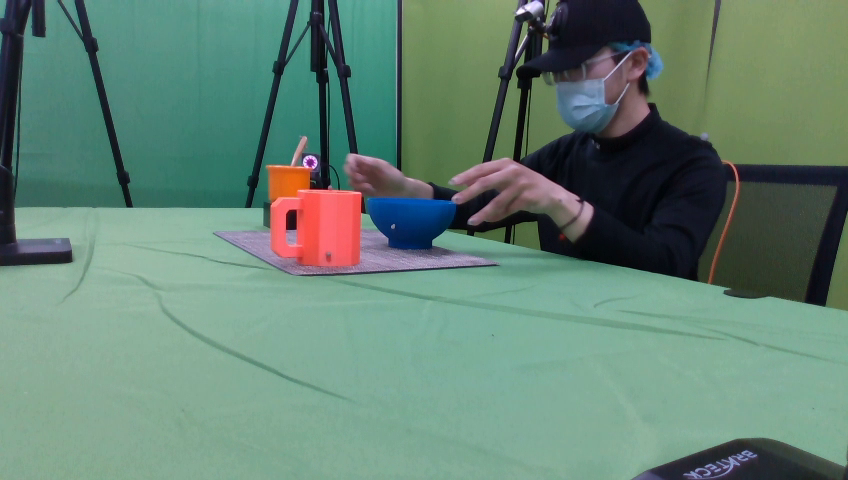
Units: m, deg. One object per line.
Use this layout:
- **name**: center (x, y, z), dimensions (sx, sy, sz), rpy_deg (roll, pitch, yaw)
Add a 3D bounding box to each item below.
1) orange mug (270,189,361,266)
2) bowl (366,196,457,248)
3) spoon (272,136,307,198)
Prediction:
- **orange mug**: center (-0.142, -0.019, 0.796), dimensions (0.127, 0.100, 0.083), rpy_deg (2, 6, -39)
- **bowl**: center (-0.022, -0.030, 1.001), dimensions (0.151, 0.077, 0.151), rpy_deg (2, 7, 0)
- **spoon**: center (-0.269, -0.152, 1.242), dimensions (0.041, 0.193, 0.022), rpy_deg (1, -37, 12)
